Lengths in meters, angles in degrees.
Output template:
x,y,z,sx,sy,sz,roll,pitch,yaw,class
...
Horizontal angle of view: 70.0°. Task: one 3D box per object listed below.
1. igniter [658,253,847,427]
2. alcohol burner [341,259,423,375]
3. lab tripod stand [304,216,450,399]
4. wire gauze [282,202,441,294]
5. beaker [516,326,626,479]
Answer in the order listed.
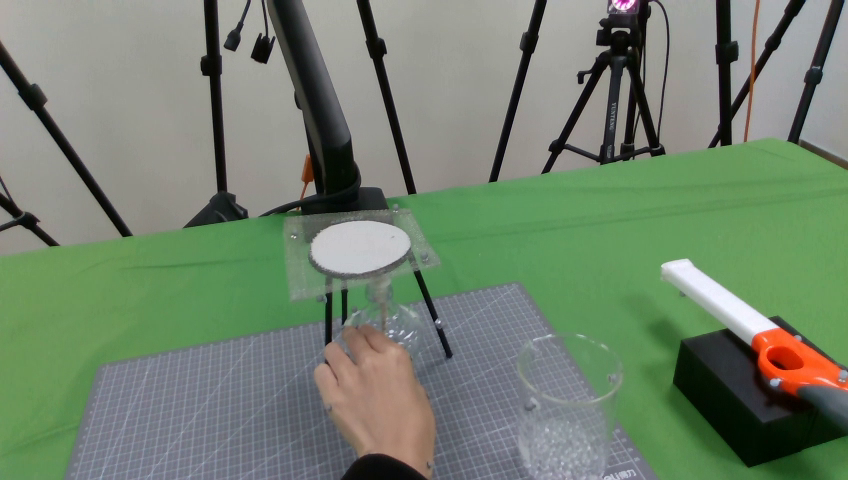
x,y,z,sx,sy,sz,roll,pitch,yaw,class
0.286,0.082,0.498,0.057,0.025,0.273,-12,29,-12,igniter
-0.039,0.066,0.556,0.078,0.120,0.077,-1,33,1,alcohol burner
-0.051,0.053,0.558,0.148,0.132,0.147,-1,30,1,lab tripod stand
-0.058,-0.001,0.519,0.122,0.011,0.123,-9,32,-11,wire gauze
0.104,0.125,0.460,0.074,0.101,0.083,-20,35,-25,beaker
